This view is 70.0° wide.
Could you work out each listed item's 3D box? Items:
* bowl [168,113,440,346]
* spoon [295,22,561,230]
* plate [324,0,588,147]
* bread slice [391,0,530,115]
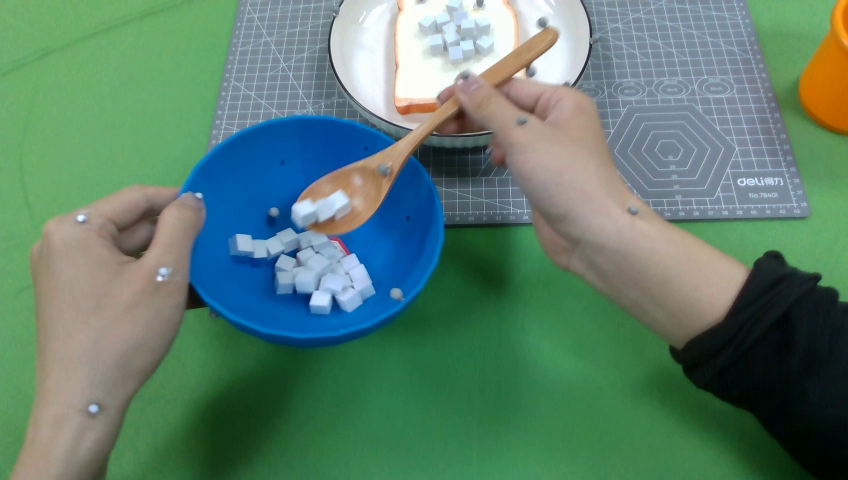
[{"bbox_3d":[-0.070,0.004,0.374,0.152,0.077,0.150,4,59,-7],"label":"bowl"},{"bbox_3d":[0.007,-0.070,0.353,0.194,0.022,0.041,-39,65,-3],"label":"spoon"},{"bbox_3d":[0.025,-0.157,0.495,0.209,0.038,0.207,-2,63,4],"label":"plate"},{"bbox_3d":[0.022,-0.161,0.500,0.107,0.018,0.133,-8,64,1],"label":"bread slice"}]
